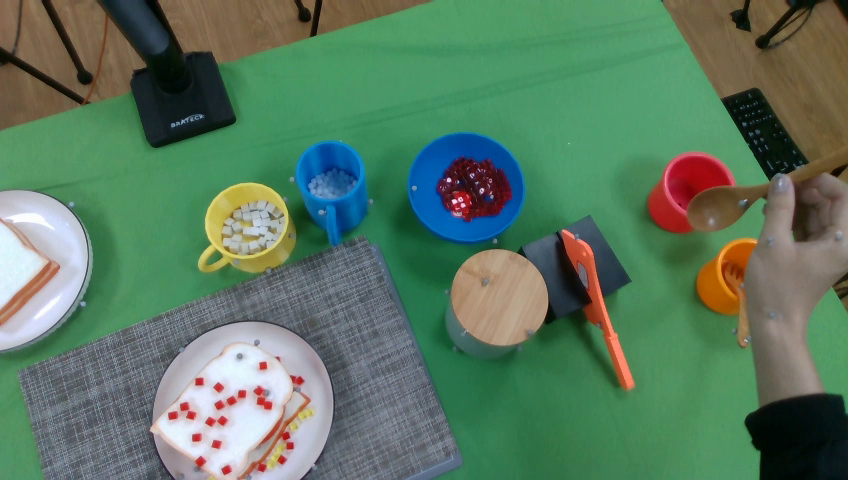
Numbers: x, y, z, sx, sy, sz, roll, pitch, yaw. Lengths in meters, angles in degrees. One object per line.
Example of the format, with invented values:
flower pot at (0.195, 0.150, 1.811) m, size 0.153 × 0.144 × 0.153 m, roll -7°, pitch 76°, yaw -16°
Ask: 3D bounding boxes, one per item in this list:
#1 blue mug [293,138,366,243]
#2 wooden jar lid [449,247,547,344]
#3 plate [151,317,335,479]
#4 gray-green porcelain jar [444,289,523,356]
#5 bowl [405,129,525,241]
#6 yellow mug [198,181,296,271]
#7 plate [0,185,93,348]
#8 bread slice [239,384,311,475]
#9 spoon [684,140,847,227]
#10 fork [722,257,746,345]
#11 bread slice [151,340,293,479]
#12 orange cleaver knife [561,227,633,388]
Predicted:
blue mug at (-0.116, -0.054, 0.767) m, size 0.082 × 0.106 × 0.116 m, roll -1°, pitch 72°, yaw -3°
wooden jar lid at (0.081, 0.061, 0.665) m, size 0.108 × 0.021 × 0.108 m, roll 2°, pitch 74°, yaw -6°
plate at (-0.208, 0.196, 0.713) m, size 0.209 × 0.038 × 0.208 m, roll 1°, pitch 73°, yaw -3°
gray-green porcelain jar at (0.078, 0.081, 0.725) m, size 0.106 × 0.127 × 0.105 m, roll 1°, pitch 72°, yaw -3°
bowl at (0.050, -0.060, 0.793) m, size 0.151 × 0.077 × 0.150 m, roll 1°, pitch 72°, yaw -3°
yellow mug at (-0.230, -0.007, 0.765) m, size 0.131 × 0.064 × 0.099 m, roll -42°, pitch 78°, yaw -13°
plate at (-0.514, 0.033, 0.750) m, size 0.208 × 0.039 × 0.206 m, roll 1°, pitch 72°, yaw -3°
bread slice at (-0.213, 0.208, 0.714) m, size 0.104 × 0.019 × 0.131 m, roll 33°, pitch 70°, yaw 8°
spoon at (0.304, -0.054, 0.513) m, size 0.022 × 0.193 × 0.041 m, roll -25°, pitch 86°, yaw -30°
fork at (0.378, 0.069, 0.734) m, size 0.028 × 0.019 × 0.207 m, roll 41°, pitch 31°, yaw 3°
bread slice at (-0.210, 0.177, 0.658) m, size 0.107 × 0.018 × 0.134 m, roll 32°, pitch 68°, yaw 1°
orange cleaver knife at (0.213, 0.083, 0.755) m, size 0.012 × 0.077 × 0.212 m, roll -23°, pitch 101°, yaw -9°
